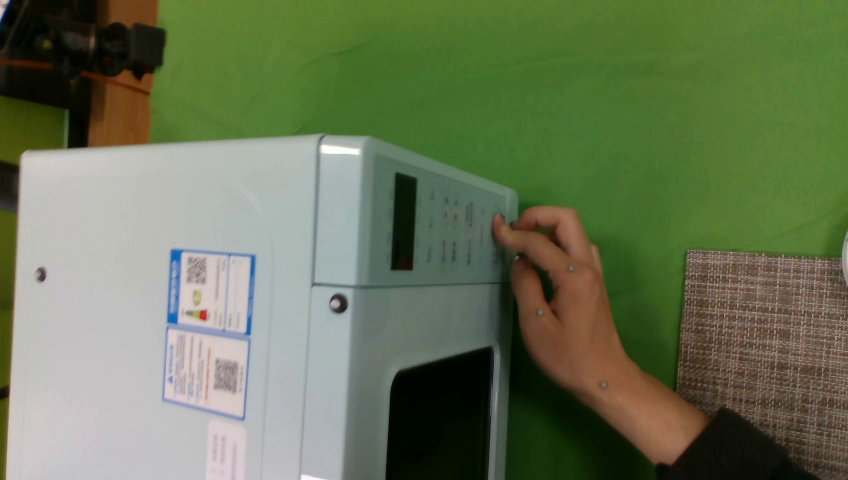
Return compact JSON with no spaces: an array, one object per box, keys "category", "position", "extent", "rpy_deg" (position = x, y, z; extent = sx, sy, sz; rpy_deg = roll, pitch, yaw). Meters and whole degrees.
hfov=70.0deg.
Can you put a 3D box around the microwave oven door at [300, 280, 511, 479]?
[{"category":"microwave oven door","position":[-0.004,0.206,0.412],"extent":[0.039,0.245,0.355],"rpy_deg":[3,89,28]}]

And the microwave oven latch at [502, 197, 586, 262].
[{"category":"microwave oven latch","position":[0.088,-0.010,0.488],"extent":[0.078,0.030,0.030],"rpy_deg":[30,103,25]}]

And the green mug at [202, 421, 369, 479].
[{"category":"green mug","position":[-0.106,0.202,0.496],"extent":[0.125,0.105,0.092],"rpy_deg":[-13,85,20]}]

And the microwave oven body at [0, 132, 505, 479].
[{"category":"microwave oven body","position":[-0.129,0.158,0.484],"extent":[0.324,0.262,0.441],"rpy_deg":[3,90,27]}]

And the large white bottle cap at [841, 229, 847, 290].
[{"category":"large white bottle cap","position":[0.334,0.013,0.385],"extent":[0.114,0.018,0.114],"rpy_deg":[-2,86,27]}]
